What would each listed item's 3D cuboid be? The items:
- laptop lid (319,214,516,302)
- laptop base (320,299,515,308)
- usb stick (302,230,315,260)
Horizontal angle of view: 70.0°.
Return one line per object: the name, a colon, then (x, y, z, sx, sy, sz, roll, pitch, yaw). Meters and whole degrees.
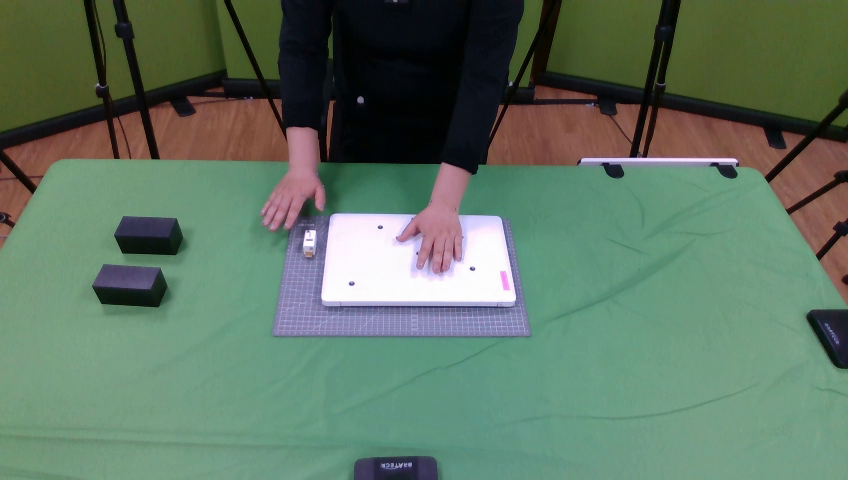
laptop lid: (-0.013, 0.029, 1.154, 0.357, 0.013, 0.240, 2, 43, -3)
laptop base: (-0.014, 0.039, 1.160, 0.355, 0.023, 0.234, 0, 43, -4)
usb stick: (-0.223, 0.011, 1.163, 0.021, 0.027, 0.059, 3, 49, -5)
